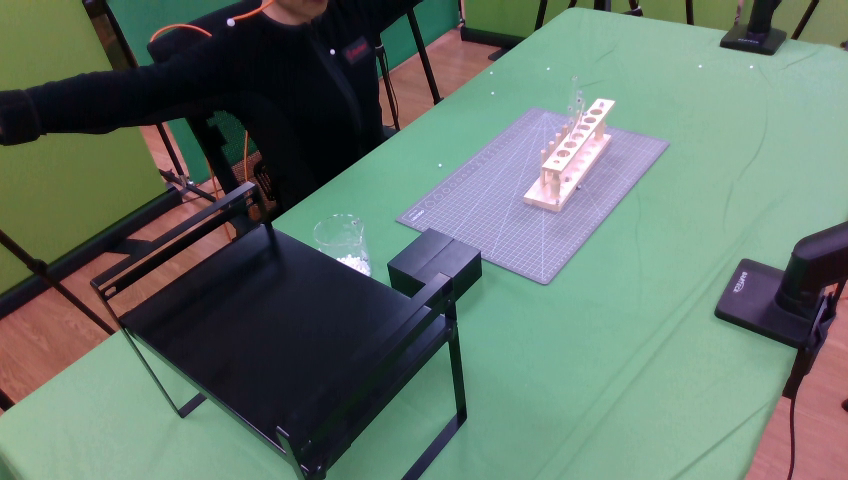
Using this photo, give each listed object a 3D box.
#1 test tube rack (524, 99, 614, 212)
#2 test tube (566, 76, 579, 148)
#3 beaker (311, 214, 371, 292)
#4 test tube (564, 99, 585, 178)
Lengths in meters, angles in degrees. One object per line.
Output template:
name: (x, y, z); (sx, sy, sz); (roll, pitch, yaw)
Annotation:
test tube rack: (0.259, -0.158, 1.069); (0.066, 0.085, 0.243); (19, 47, 28)
test tube: (0.261, -0.221, 1.073); (0.017, 0.151, 0.017); (-4, 41, 4)
beaker: (-0.118, 0.022, 0.908); (0.083, 0.101, 0.074); (26, 51, 32)
test tube: (0.248, -0.164, 1.001); (0.017, 0.151, 0.017); (-1, 42, 1)
